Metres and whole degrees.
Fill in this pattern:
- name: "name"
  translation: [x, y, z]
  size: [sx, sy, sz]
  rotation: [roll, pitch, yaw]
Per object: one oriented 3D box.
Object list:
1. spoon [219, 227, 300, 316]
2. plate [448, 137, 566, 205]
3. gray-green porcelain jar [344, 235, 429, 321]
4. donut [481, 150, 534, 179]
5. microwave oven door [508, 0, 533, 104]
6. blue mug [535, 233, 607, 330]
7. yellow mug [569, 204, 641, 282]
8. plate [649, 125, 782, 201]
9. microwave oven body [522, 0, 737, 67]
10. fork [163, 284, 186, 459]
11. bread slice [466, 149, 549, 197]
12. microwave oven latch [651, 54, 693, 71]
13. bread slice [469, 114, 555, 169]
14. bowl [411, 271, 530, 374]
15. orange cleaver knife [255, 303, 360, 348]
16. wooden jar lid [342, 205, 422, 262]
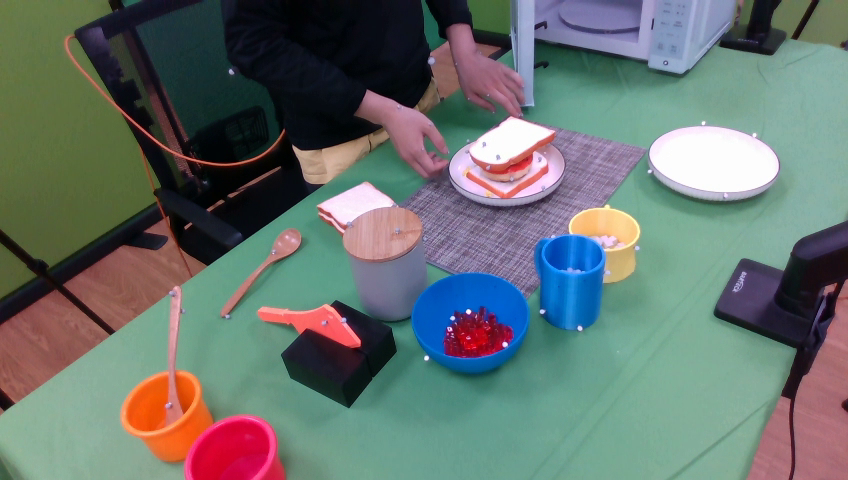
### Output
- name: "spoon"
  translation: [-0.261, 0.046, 0.954]
  size: [0.041, 0.021, 0.194]
  rotation: [27, 48, 10]
- name: "plate"
  translation: [0.147, -0.124, 1.075]
  size: [0.209, 0.038, 0.208]
  rotation: [-4, 41, 4]
- name: "gray-green porcelain jar"
  translation: [-0.049, 0.042, 0.849]
  size: [0.106, 0.127, 0.105]
  rotation: [-4, 41, 4]
- name: "donut"
  translation: [0.143, -0.145, 1.058]
  size: [0.099, 0.048, 0.098]
  rotation: [-3, 41, 3]
- name: "microwave oven door"
  translation: [0.208, -0.487, 1.309]
  size: [0.039, 0.245, 0.354]
  rotation: [-2, 41, 6]
- name: "blue mug"
  translation: [0.191, 0.048, 0.824]
  size: [0.082, 0.106, 0.115]
  rotation: [-26, 44, -20]
- name: "yellow mug"
  translation: [0.268, -0.005, 0.904]
  size: [0.099, 0.064, 0.130]
  rotation: [7, 41, 15]
- name: "plate"
  translation: [0.493, -0.128, 1.036]
  size: [0.207, 0.039, 0.206]
  rotation: [-4, 41, 4]
- name: "microwave oven body"
  translation: [0.475, -0.602, 1.411]
  size: [0.438, 0.261, 0.327]
  rotation: [23, 50, 32]
- name: "fork"
  translation: [-0.302, 0.157, 0.733]
  size: [0.028, 0.019, 0.207]
  rotation: [-3, 84, 15]
- name: "bread slice"
  translation: [0.156, -0.131, 1.082]
  size: [0.132, 0.019, 0.104]
  rotation: [-31, 46, -27]
- name: "microwave oven latch"
  translation: [0.532, -0.386, 1.301]
  size: [0.078, 0.029, 0.030]
  rotation: [26, 51, 33]
- name: "bread slice"
  translation: [0.145, -0.168, 1.036]
  size: [0.134, 0.018, 0.106]
  rotation: [-39, 43, -24]
- name: "bowl"
  translation: [0.062, 0.119, 0.780]
  size: [0.151, 0.077, 0.150]
  rotation: [-4, 40, 4]
- name: "orange cleaver knife"
  translation: [-0.161, 0.115, 0.813]
  size: [0.210, 0.077, 0.012]
  rotation: [-4, 32, 46]
- name: "wooden jar lid"
  translation: [-0.055, -0.006, 0.808]
  size: [0.108, 0.021, 0.108]
  rotation: [-6, 41, 6]
